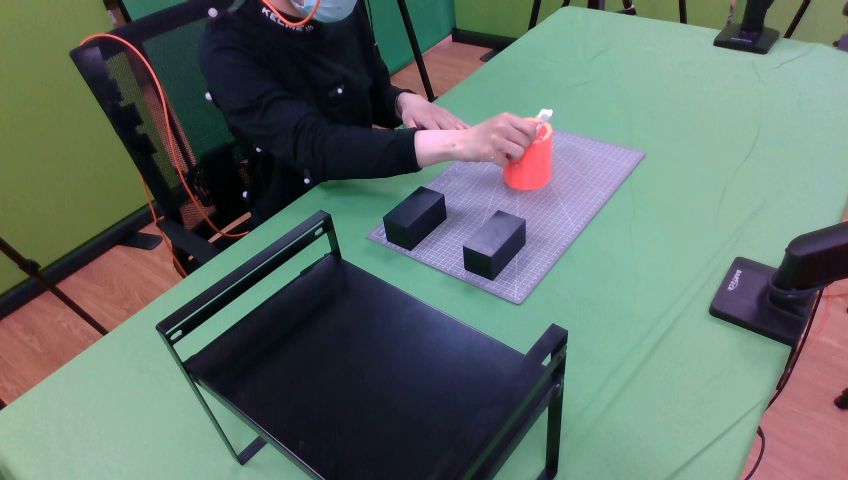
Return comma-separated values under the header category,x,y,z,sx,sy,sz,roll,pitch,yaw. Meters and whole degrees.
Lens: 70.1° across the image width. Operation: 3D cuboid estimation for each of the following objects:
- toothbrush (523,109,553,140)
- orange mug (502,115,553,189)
category,x,y,z,sx,sy,sz,roll,pitch,yaw
toothbrush,0.174,-0.173,1.011,0.017,0.181,0.014,-7,76,-13
orange mug,0.190,-0.164,1.071,0.083,0.101,0.126,16,50,25
